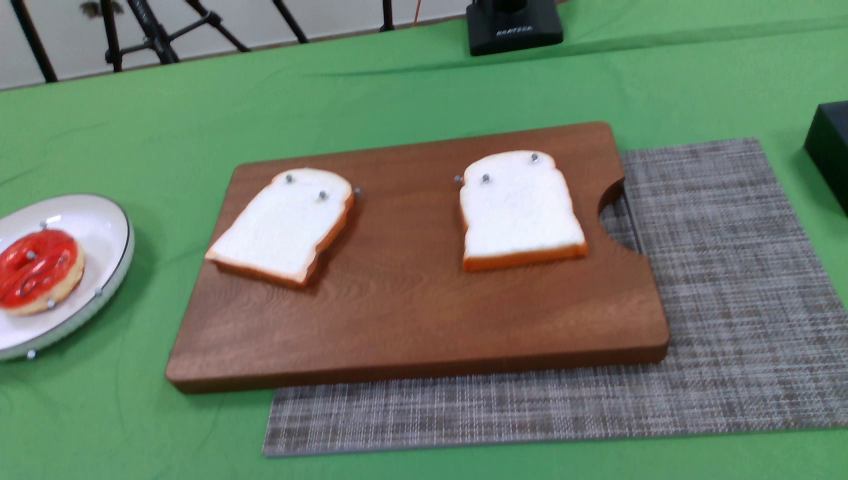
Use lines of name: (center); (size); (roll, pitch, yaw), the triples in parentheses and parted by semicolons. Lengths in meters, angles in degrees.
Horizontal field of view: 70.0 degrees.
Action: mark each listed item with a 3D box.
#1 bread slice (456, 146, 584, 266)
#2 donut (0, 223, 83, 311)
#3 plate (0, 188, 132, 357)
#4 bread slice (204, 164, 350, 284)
bread slice: (0.078, -0.036, 0.547); (0.105, 0.019, 0.130); (-8, 50, 4)
donut: (-0.390, 0.026, 0.603); (0.099, 0.049, 0.098); (-7, 50, 9)
plate: (-0.393, 0.032, 0.613); (0.209, 0.038, 0.207); (-6, 49, 7)
bread slice: (-0.132, -0.020, 0.578); (0.106, 0.018, 0.133); (10, 54, 20)
